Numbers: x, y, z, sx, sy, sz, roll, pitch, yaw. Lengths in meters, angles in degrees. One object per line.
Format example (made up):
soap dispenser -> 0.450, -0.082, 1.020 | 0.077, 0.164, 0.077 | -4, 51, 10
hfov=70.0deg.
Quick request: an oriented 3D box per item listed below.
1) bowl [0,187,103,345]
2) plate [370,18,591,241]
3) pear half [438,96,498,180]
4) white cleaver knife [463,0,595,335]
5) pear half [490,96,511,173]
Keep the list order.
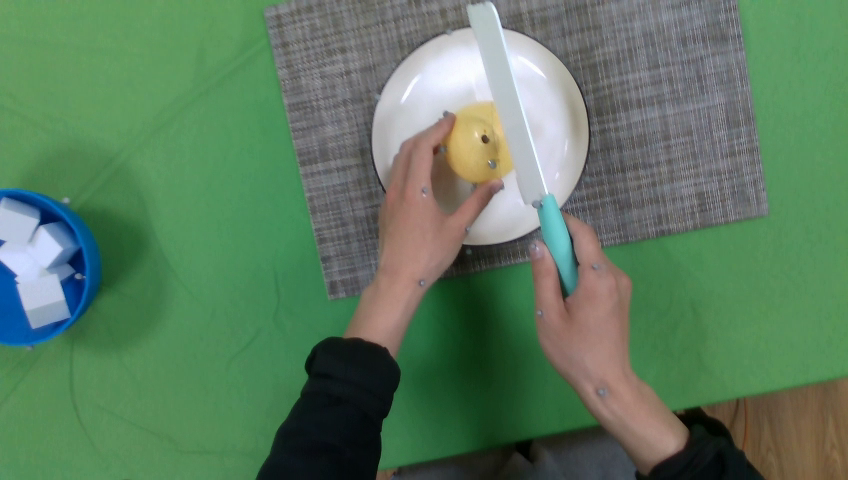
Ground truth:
bowl -> -0.383, 0.022, 0.604 | 0.151, 0.076, 0.151 | 0, 97, 2
plate -> 0.053, -0.104, 0.584 | 0.207, 0.039, 0.208 | 0, 97, 3
pear half -> 0.040, -0.091, 0.542 | 0.056, 0.110, 0.076 | -13, 90, 3
white cleaver knife -> 0.085, -0.053, 0.481 | 0.021, 0.065, 0.288 | -20, 105, -6
pear half -> 0.076, -0.098, 0.548 | 0.031, 0.088, 0.070 | -13, 92, 6
